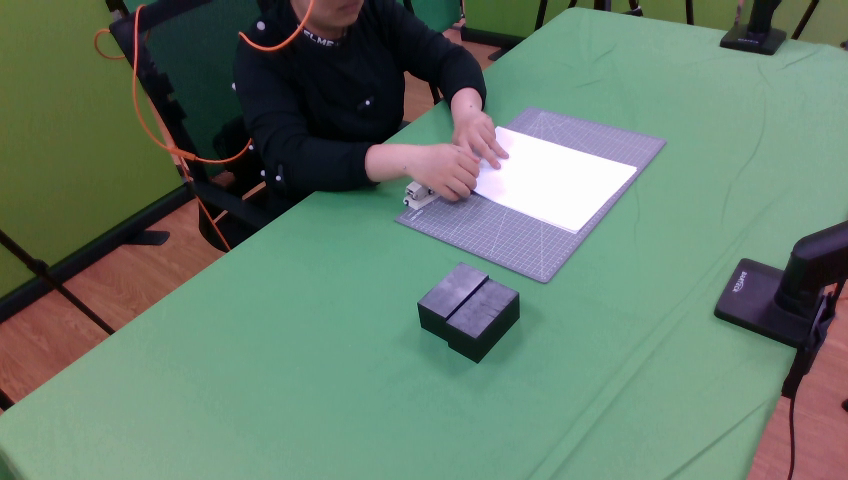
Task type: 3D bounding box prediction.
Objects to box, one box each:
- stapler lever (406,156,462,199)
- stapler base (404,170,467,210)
[{"bbox_3d":[0.020,-0.113,1.074,0.118,0.040,0.026,-30,44,-31],"label":"stapler lever"},{"bbox_3d":[0.022,-0.099,1.088,0.131,0.024,0.041,-35,47,-27],"label":"stapler base"}]
